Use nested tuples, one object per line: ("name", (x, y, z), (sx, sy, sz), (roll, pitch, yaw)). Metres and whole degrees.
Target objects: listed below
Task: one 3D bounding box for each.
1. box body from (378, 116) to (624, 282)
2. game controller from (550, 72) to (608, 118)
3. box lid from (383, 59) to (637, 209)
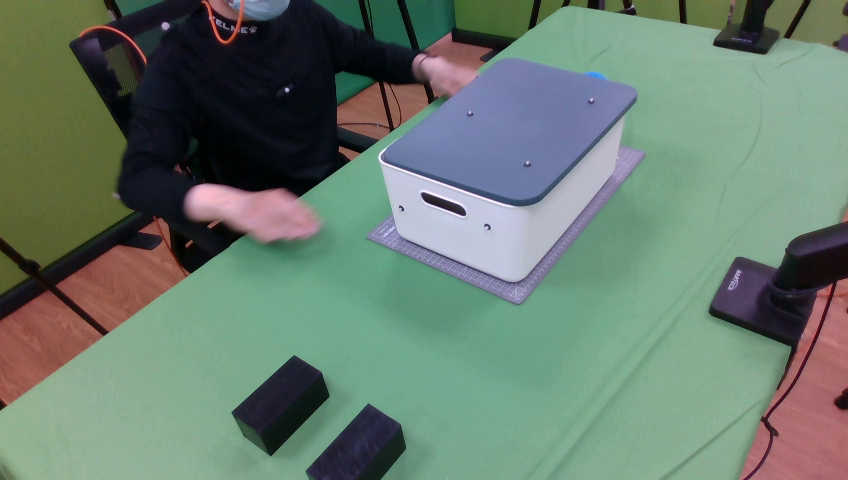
("box body", (0.137, -0.121, 0.978), (0.252, 0.161, 0.365), (22, 49, 30))
("game controller", (0.326, -0.306, 1.260), (0.096, 0.052, 0.155), (13, 45, 17))
("box lid", (0.141, -0.182, 0.928), (0.261, 0.015, 0.372), (23, 48, 29))
